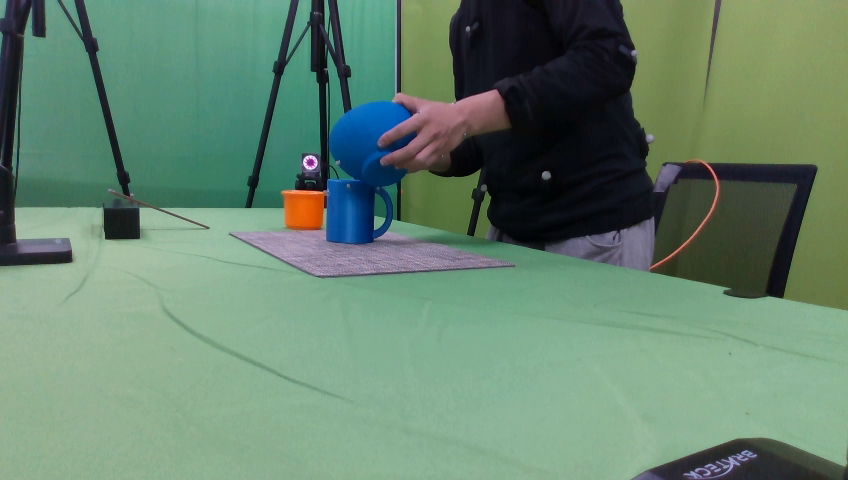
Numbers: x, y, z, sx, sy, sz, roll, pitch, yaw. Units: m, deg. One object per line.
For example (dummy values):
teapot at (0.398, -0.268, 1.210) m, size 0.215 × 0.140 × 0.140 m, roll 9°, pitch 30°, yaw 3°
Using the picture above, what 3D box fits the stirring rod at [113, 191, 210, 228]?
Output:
stirring rod at (-0.484, -0.055, 1.121) m, size 0.177 × 0.006 × 0.014 m, roll 22°, pitch -6°, yaw -22°

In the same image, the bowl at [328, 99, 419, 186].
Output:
bowl at (-0.071, -0.139, 0.958) m, size 0.152 × 0.151 × 0.076 m, roll -1°, pitch 52°, yaw -27°

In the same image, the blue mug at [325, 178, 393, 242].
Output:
blue mug at (-0.111, -0.052, 1.034) m, size 0.116 × 0.106 × 0.082 m, roll 3°, pitch 7°, yaw 7°

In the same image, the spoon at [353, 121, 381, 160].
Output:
spoon at (-0.098, -0.183, 1.063) m, size 0.021 × 0.041 × 0.193 m, roll -17°, pitch 22°, yaw 11°
